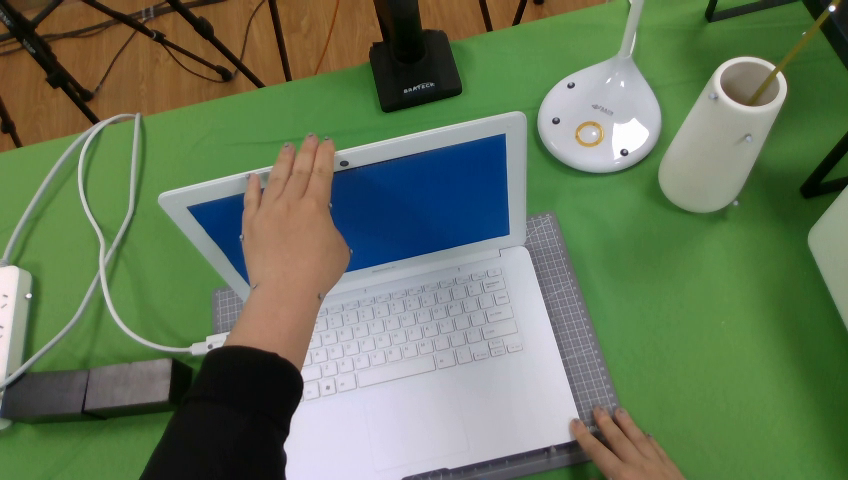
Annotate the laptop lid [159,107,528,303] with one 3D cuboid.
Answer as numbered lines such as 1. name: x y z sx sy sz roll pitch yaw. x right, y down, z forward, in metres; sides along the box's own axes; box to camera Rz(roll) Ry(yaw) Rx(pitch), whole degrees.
1. laptop lid: -0.061 -0.022 0.651 0.357 0.244 0.013 -14 57 2

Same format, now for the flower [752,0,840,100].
1. flower: 0.339 -0.153 0.605 0.038 0.364 0.043 2 56 -11

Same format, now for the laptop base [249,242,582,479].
1. laptop base: -0.021 0.144 0.703 0.354 0.023 0.233 -13 68 0

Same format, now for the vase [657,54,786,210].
1. vase: 0.329 -0.115 0.680 0.098 0.202 0.097 -3 64 7

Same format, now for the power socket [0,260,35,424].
1. power socket: -0.543 0.127 0.762 0.072 0.033 0.224 -10 65 1

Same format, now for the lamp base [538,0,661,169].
1. lamp base: 0.229 -0.208 0.744 0.160 0.182 0.178 18 66 14

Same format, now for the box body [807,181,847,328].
1. box body: 0.582 0.083 0.581 0.254 0.162 0.361 -12 65 2

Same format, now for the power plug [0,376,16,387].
1. power plug: -0.504 0.181 0.712 0.072 0.053 0.035 1 65 6

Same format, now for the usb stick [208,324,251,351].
1. usb stick: -0.225 0.116 0.724 0.059 0.027 0.021 -9 65 -3

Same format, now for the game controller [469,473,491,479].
1. game controller: 0.033 0.305 0.609 0.155 0.052 0.096 -26 61 -6
